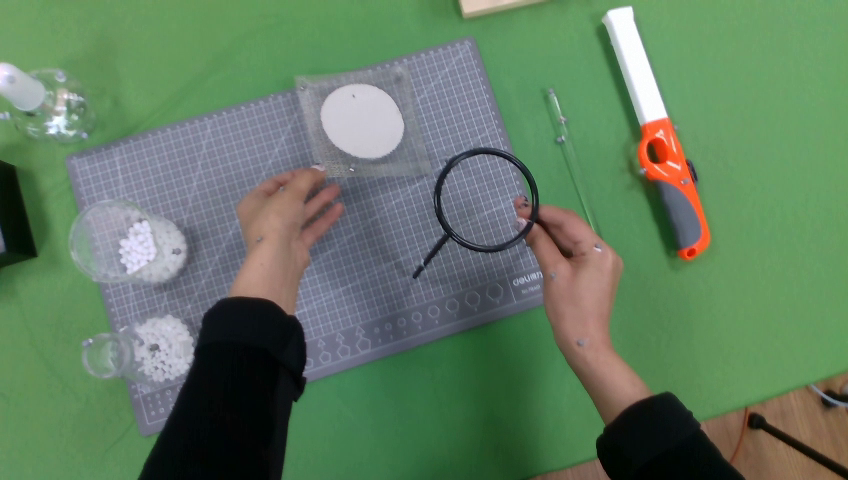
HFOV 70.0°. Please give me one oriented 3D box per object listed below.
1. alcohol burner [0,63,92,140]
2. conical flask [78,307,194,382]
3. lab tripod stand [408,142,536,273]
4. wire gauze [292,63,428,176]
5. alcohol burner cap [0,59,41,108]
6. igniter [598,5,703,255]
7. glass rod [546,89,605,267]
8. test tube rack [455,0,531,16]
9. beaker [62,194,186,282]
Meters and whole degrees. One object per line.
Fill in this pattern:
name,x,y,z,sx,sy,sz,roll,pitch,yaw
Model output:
alcohol burner,-0.375,-0.138,0.581,0.078,0.119,0.077,0,85,-1
conical flask,-0.266,0.098,0.554,0.075,0.122,0.075,0,83,-2
lab tripod stand,0.042,-0.025,0.567,0.148,0.131,0.148,1,84,-6
wire gauze,-0.066,-0.126,0.629,0.125,0.011,0.121,-8,77,-18
alcohol burner cap,-0.374,-0.144,0.545,0.034,0.048,0.033,0,77,-1
igniter,0.243,-0.119,0.649,0.057,0.025,0.276,-15,85,-14
glass rod,0.162,-0.067,0.650,0.008,0.008,0.199,-17,88,-4
test tube rack,0.150,-0.311,0.635,0.242,0.085,0.066,-14,84,-4
beaker,-0.274,0.004,0.575,0.084,0.100,0.074,19,83,-1
